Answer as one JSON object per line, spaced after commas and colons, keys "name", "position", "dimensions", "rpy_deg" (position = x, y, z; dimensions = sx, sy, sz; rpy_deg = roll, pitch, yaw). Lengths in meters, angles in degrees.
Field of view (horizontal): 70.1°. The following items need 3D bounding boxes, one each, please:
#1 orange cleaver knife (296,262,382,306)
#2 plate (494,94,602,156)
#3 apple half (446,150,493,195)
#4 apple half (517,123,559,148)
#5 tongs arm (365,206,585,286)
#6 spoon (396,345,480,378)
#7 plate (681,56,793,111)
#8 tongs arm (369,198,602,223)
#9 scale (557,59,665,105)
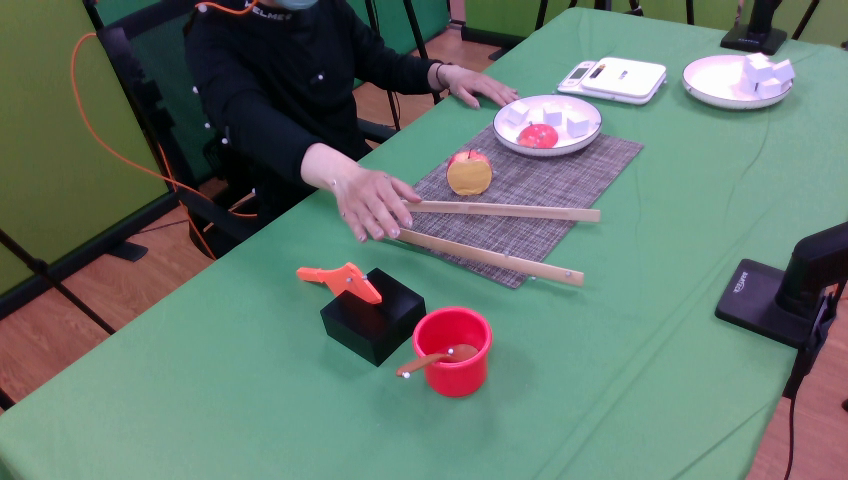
{"name": "orange cleaver knife", "position": [-0.127, 0.064, 0.875], "dimensions": [0.012, 0.077, 0.210], "rpy_deg": [-42, 21, -28]}
{"name": "plate", "position": [0.240, -0.221, 1.181], "dimensions": [0.209, 0.038, 0.208], "rpy_deg": [-4, 41, 4]}
{"name": "apple half", "position": [0.080, -0.123, 1.065], "dimensions": [0.081, 0.075, 0.053], "rpy_deg": [-7, 37, 7]}
{"name": "apple half", "position": [0.221, -0.207, 1.161], "dimensions": [0.081, 0.033, 0.081], "rpy_deg": [-6, 43, 6]}
{"name": "tongs arm", "position": [0.067, 0.004, 0.951], "dimensions": [0.382, 0.026, 0.051], "rpy_deg": [13, 45, 23]}
{"name": "spoon", "position": [0.017, 0.142, 0.715], "dimensions": [0.041, 0.021, 0.195], "rpy_deg": [22, 4, 27]}
{"name": "plate", "position": [0.636, -0.317, 1.239], "dimensions": [0.207, 0.039, 0.206], "rpy_deg": [-4, 40, 4]}
{"name": "tongs arm", "position": [0.097, -0.047, 1.009], "dimensions": [0.386, 0.028, 0.028], "rpy_deg": [3, 45, 13]}
{"name": "scale", "position": [0.407, -0.348, 1.314], "dimensions": [0.199, 0.032, 0.149], "rpy_deg": [19, 47, 28]}
